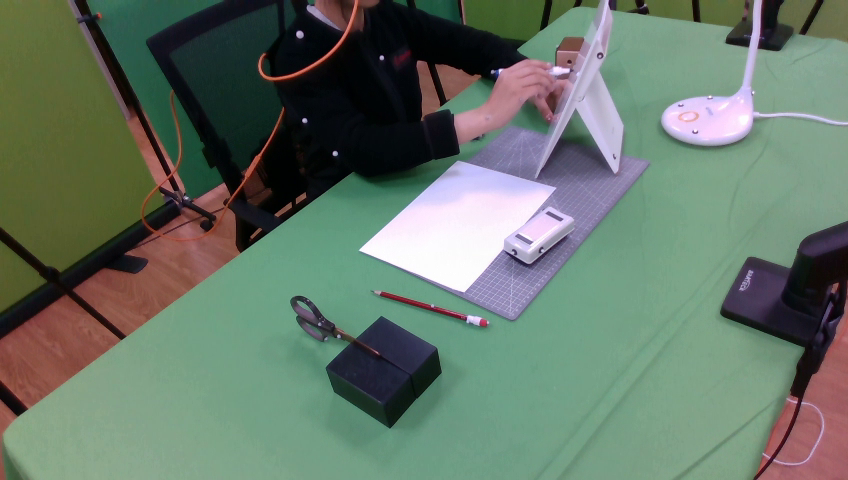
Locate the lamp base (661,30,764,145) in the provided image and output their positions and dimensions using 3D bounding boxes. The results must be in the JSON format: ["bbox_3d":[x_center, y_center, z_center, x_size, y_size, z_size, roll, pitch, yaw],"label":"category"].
[{"bbox_3d":[0.535,-0.287,1.096,0.179,0.181,0.159,-10,40,-4],"label":"lamp base"}]

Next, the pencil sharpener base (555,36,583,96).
[{"bbox_3d":[0.318,-0.371,1.290,0.061,0.107,0.076,10,44,22],"label":"pencil sharpener base"}]

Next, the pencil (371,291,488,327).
[{"bbox_3d":[0.003,0.097,0.877,0.193,0.012,0.012,13,45,26],"label":"pencil"}]

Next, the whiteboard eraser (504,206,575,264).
[{"bbox_3d":[0.179,-0.006,0.936,0.113,0.042,0.055,-35,46,-27],"label":"whiteboard eraser"}]

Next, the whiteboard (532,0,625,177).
[{"bbox_3d":[0.320,-0.258,1.050,0.144,0.306,0.217,21,45,4],"label":"whiteboard"}]

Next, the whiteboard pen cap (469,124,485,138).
[{"bbox_3d":[0.106,-0.220,1.224,0.033,0.018,0.018,-38,48,-23],"label":"whiteboard pen cap"}]

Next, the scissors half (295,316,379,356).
[{"bbox_3d":[-0.119,0.131,0.813,0.173,0.040,0.013,9,34,45],"label":"scissors half"}]

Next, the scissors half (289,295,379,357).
[{"bbox_3d":[-0.122,0.114,0.803,0.174,0.040,0.013,26,50,32],"label":"scissors half"}]

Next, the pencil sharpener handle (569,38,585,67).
[{"bbox_3d":[0.333,-0.413,1.318,0.036,0.068,0.030,19,47,13],"label":"pencil sharpener handle"}]

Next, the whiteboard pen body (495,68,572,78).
[{"bbox_3d":[0.198,-0.302,1.095,0.141,0.017,0.017,0,41,3],"label":"whiteboard pen body"}]
